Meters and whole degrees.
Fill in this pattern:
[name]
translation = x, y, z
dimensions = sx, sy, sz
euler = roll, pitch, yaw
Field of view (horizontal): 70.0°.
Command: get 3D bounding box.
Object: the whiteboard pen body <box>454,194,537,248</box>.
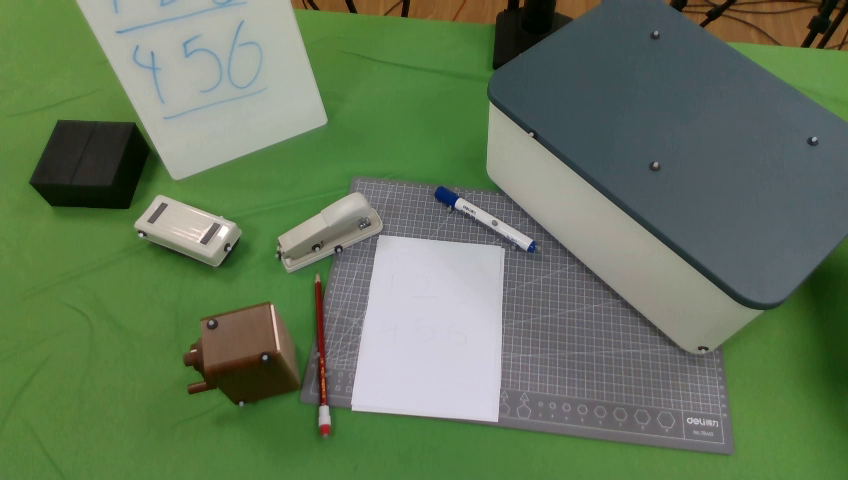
[whiteboard pen body]
translation = 0.076, -0.030, 0.742
dimensions = 0.140, 0.017, 0.017
euler = 32, 65, 19

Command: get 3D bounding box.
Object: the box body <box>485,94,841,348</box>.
[box body]
translation = 0.272, -0.086, 0.697
dimensions = 0.254, 0.161, 0.361
euler = -36, 66, -20

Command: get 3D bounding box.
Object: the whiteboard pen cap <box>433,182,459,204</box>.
[whiteboard pen cap]
translation = 0.029, -0.059, 0.762
dimensions = 0.033, 0.018, 0.018
euler = 32, 65, 19

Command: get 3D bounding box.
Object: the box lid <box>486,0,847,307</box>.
[box lid]
translation = 0.271, -0.125, 0.634
dimensions = 0.263, 0.015, 0.368
euler = -36, 67, -20

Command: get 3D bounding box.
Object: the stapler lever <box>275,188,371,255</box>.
[stapler lever]
translation = -0.118, -0.023, 0.710
dimensions = 0.118, 0.040, 0.026
euler = -26, 58, -11

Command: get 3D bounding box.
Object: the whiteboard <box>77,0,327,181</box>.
[whiteboard]
translation = -0.280, -0.270, 0.756
dimensions = 0.217, 0.308, 0.142
euler = -24, 43, -13

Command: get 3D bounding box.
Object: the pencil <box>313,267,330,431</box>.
[pencil]
translation = -0.115, 0.114, 0.668
dimensions = 0.012, 0.012, 0.192
euler = -7, 60, -4

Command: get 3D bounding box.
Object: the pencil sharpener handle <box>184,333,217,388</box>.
[pencil sharpener handle]
translation = -0.225, 0.122, 0.593
dimensions = 0.031, 0.068, 0.035
euler = -14, 45, -7

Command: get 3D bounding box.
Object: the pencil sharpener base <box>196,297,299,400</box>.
[pencil sharpener base]
translation = -0.176, 0.113, 0.613
dimensions = 0.077, 0.108, 0.061
euler = -14, 61, -7

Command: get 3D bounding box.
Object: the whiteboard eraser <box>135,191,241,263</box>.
[whiteboard eraser]
translation = -0.281, -0.014, 0.724
dimensions = 0.112, 0.042, 0.055
euler = 21, 64, 10

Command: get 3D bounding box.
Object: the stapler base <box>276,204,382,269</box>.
[stapler base]
translation = -0.116, -0.011, 0.732
dimensions = 0.130, 0.024, 0.041
euler = -26, 59, -11
